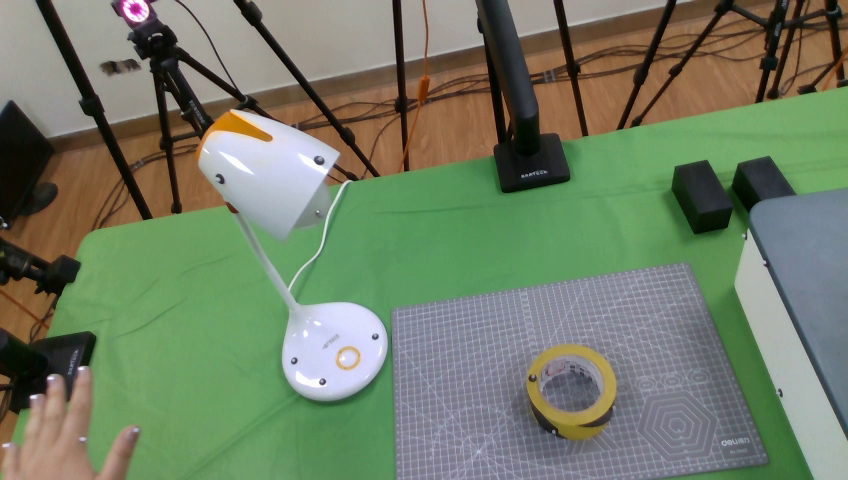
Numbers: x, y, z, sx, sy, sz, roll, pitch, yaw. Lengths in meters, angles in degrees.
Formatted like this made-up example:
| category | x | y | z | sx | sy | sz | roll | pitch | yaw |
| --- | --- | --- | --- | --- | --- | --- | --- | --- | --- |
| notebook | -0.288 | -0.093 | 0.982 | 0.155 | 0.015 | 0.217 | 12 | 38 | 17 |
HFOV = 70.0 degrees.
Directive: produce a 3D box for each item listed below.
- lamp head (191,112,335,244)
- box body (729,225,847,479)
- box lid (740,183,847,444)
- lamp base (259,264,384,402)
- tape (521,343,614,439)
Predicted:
| category | x | y | z | sx | sy | sz | roll | pitch | yaw |
| --- | --- | --- | --- | --- | --- | --- | --- | --- | --- |
| lamp head | -0.168 | -0.069 | 0.611 | 0.123 | 0.112 | 0.112 | 29 | 59 | -8 |
| box body | 0.537 | 0.121 | 0.688 | 0.254 | 0.162 | 0.360 | -9 | 51 | 6 |
| box lid | 0.523 | 0.075 | 0.632 | 0.263 | 0.015 | 0.367 | -9 | 52 | 6 |
| lamp base | -0.163 | 0.115 | 0.849 | 0.177 | 0.182 | 0.160 | 23 | 61 | 31 |
| tape | 0.185 | 0.194 | 0.784 | 0.117 | 0.053 | 0.115 | -6 | 51 | 8 |
